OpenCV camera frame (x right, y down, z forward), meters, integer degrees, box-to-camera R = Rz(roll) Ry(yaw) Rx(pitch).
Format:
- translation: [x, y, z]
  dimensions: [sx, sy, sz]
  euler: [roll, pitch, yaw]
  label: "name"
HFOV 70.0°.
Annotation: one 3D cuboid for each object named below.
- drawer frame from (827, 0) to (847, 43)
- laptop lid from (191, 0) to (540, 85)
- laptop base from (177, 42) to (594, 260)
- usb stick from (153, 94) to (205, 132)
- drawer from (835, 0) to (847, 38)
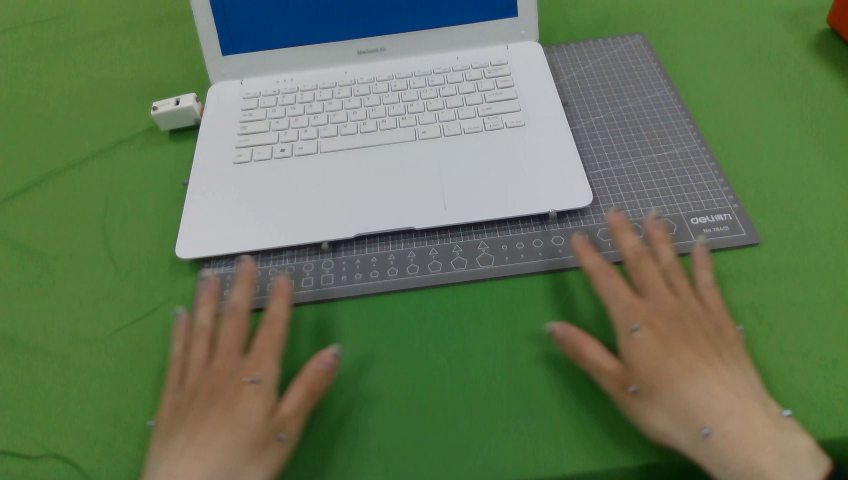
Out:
- translation: [0.526, -0.185, 0.541]
  dimensions: [0.202, 0.083, 0.211]
  euler: [-12, 50, -2]
  label: "drawer frame"
- translation: [-0.066, -0.289, 0.605]
  dimensions: [0.357, 0.243, 0.013]
  euler: [-9, 21, 1]
  label: "laptop lid"
- translation: [-0.042, -0.092, 0.575]
  dimensions: [0.354, 0.023, 0.233]
  euler: [-7, 54, 1]
  label: "laptop base"
- translation: [-0.240, -0.130, 0.615]
  dimensions: [0.059, 0.027, 0.021]
  euler: [-10, 50, 0]
  label: "usb stick"
- translation: [0.527, -0.183, 0.541]
  dimensions: [0.194, 0.074, 0.209]
  euler: [-11, 50, -1]
  label: "drawer"
